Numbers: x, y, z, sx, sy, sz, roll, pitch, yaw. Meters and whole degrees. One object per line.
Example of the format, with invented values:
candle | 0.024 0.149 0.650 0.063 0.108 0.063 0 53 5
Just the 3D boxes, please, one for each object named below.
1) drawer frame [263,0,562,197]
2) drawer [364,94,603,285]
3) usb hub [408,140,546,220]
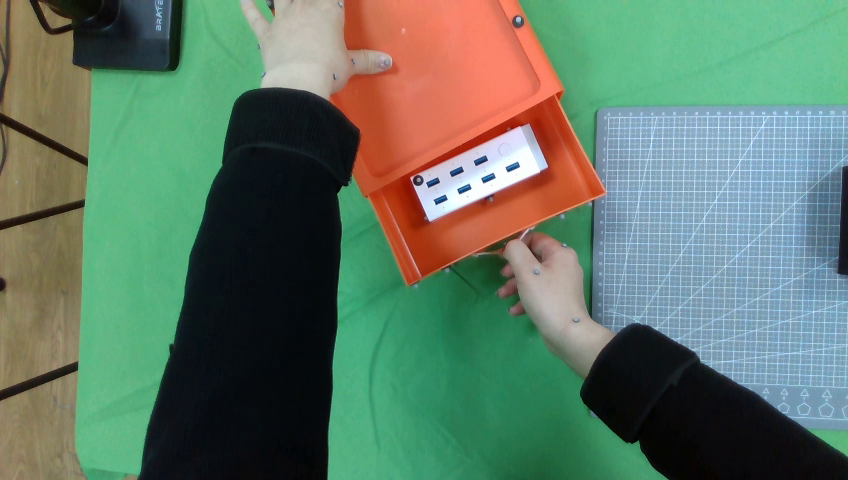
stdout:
drawer frame | -0.012 -0.175 0.564 0.201 0.083 0.213 -28 87 7
drawer | 0.030 -0.092 0.564 0.194 0.073 0.211 -25 88 8
usb hub | 0.050 -0.057 0.578 0.125 0.025 0.049 -13 91 13
